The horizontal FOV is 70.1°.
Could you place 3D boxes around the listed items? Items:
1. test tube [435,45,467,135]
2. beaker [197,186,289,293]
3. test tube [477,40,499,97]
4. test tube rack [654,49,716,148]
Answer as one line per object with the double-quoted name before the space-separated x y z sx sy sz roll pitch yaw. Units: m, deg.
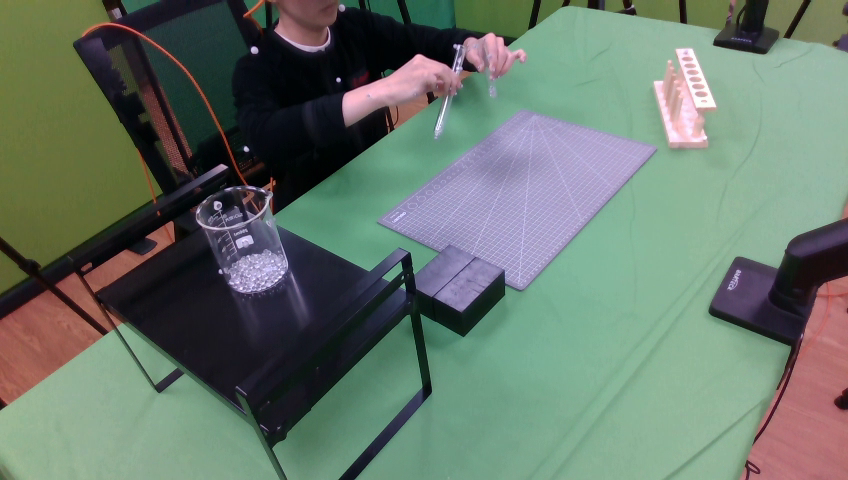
"test tube" 0.043 -0.244 0.986 0.017 0.150 0.017 16 1 0
"beaker" -0.192 0.001 0.666 0.084 0.101 0.073 -33 47 -27
"test tube" 0.117 -0.304 1.083 0.017 0.151 0.017 -6 66 14
"test tube rack" 0.502 -0.281 1.176 0.066 0.085 0.241 1 41 11
